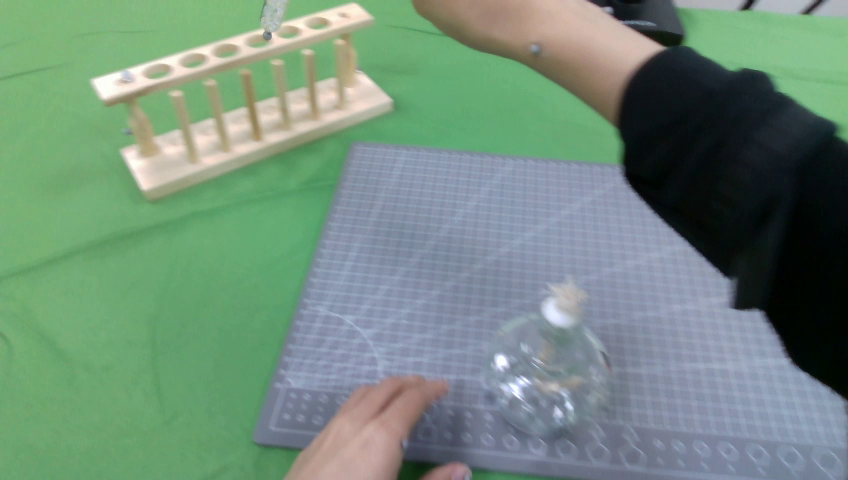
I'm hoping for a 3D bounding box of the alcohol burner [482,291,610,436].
[{"bbox_3d":[0.074,0.067,0.359,0.078,0.120,0.077,0,50,0],"label":"alcohol burner"}]

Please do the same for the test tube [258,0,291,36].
[{"bbox_3d":[-0.075,-0.186,0.365,0.017,0.151,0.017,18,47,-20],"label":"test tube"}]

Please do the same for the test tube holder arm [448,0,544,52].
[{"bbox_3d":[-0.008,-0.161,0.353,0.178,0.015,0.013,32,46,4],"label":"test tube holder arm"}]

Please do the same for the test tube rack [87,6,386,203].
[{"bbox_3d":[-0.155,-0.128,0.548,0.242,0.086,0.066,-27,54,-23],"label":"test tube rack"}]
